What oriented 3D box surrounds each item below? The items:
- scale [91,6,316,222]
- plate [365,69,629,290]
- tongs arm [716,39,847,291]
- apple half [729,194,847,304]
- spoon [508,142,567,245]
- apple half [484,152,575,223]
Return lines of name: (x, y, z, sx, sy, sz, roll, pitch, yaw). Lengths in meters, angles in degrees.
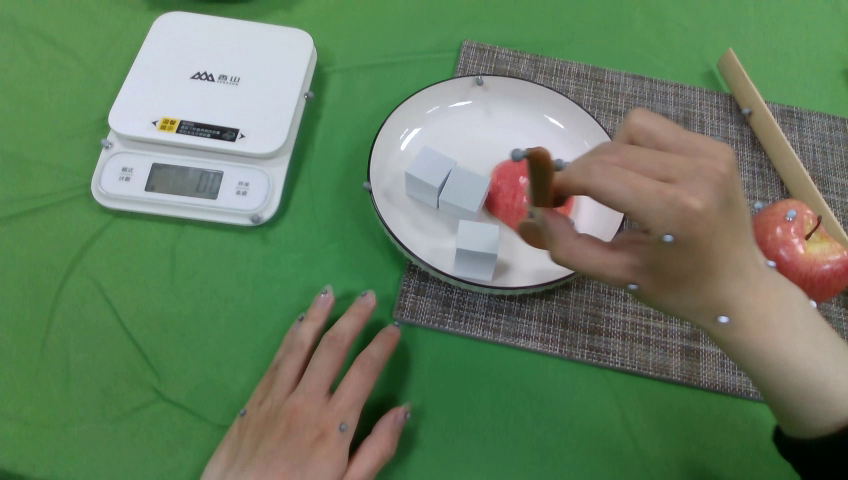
scale: (-0.181, -0.112, 0.514, 0.149, 0.032, 0.199, 8, 62, 0)
plate: (0.057, -0.050, 0.492, 0.209, 0.038, 0.207, 2, 61, -4)
tongs arm: (0.338, -0.021, 0.506, 0.028, 0.028, 0.384, -9, 63, -14)
apple half: (0.263, 0.013, 0.455, 0.053, 0.075, 0.080, -23, 69, -11)
spoon: (0.067, -0.020, 0.361, 0.041, 0.194, 0.021, 10, 84, 12)
apple half: (0.087, -0.046, 0.487, 0.081, 0.033, 0.080, 3, 62, -6)
